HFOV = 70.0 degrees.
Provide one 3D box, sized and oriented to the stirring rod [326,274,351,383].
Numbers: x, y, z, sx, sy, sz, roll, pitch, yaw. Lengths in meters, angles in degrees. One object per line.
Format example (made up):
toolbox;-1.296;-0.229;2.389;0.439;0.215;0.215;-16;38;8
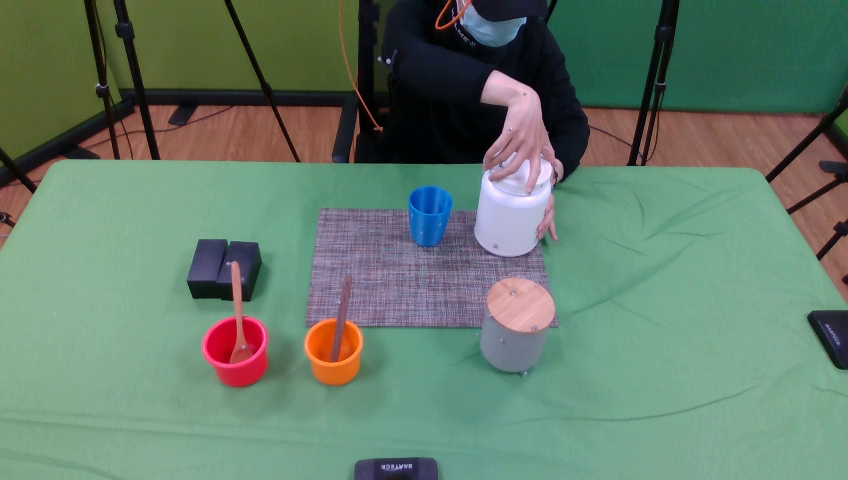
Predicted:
stirring rod;-0.137;0.142;0.971;0.014;0.006;0.176;9;89;0

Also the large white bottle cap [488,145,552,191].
large white bottle cap;0.174;-0.132;1.098;0.115;0.018;0.114;2;46;-2

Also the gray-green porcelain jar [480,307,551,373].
gray-green porcelain jar;0.148;0.148;0.992;0.106;0.127;0.105;2;46;-2

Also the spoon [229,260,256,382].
spoon;-0.294;0.129;0.966;0.042;0.021;0.193;-4;91;-9

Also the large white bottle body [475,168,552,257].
large white bottle body;0.170;-0.073;1.159;0.131;0.185;0.130;2;46;-2

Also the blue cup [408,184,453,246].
blue cup;0.008;-0.043;1.177;0.093;0.101;0.092;3;48;-3

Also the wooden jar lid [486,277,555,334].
wooden jar lid;0.150;0.105;0.948;0.108;0.021;0.107;3;47;-3
